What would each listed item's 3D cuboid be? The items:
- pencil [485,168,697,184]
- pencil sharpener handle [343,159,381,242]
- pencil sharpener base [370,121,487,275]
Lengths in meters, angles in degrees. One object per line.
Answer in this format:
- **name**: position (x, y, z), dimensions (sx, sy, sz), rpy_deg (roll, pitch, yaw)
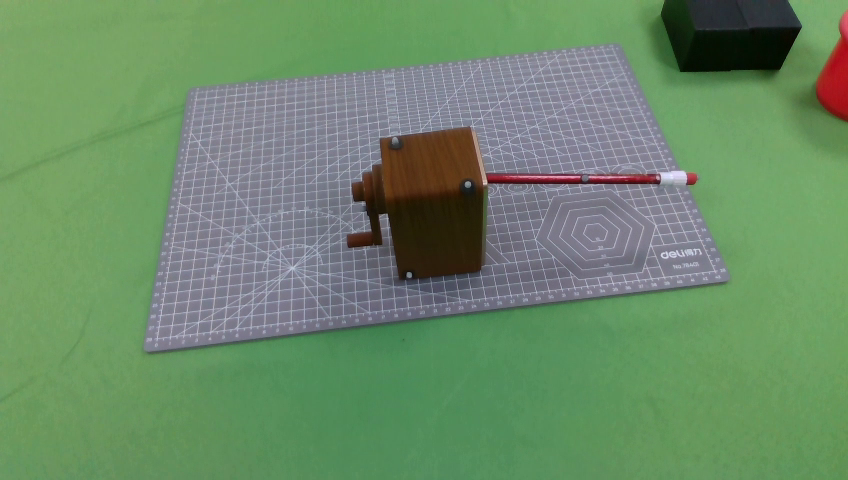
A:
- **pencil**: position (0.105, -0.048, 0.439), dimensions (0.194, 0.012, 0.012), rpy_deg (0, 54, -7)
- **pencil sharpener handle**: position (-0.048, -0.025, 0.438), dimensions (0.030, 0.068, 0.035), rpy_deg (-7, 40, -1)
- **pencil sharpener base**: position (0.003, -0.027, 0.452), dimensions (0.077, 0.108, 0.060), rpy_deg (-7, 55, -1)
